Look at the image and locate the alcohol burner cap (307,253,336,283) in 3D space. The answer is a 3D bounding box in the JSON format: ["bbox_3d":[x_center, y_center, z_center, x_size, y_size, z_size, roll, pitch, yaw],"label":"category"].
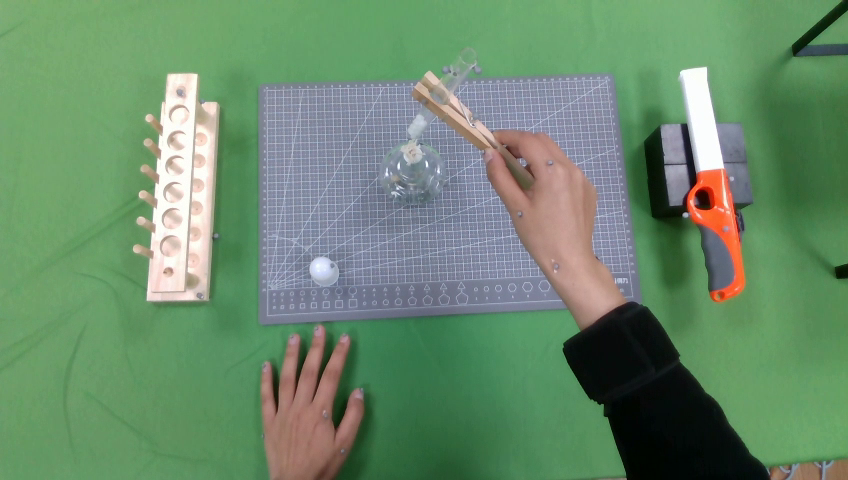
[{"bbox_3d":[-0.119,0.030,0.691,0.034,0.048,0.033,1,78,-5],"label":"alcohol burner cap"}]

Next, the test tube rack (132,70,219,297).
[{"bbox_3d":[-0.283,-0.061,0.683,0.067,0.085,0.241,-1,78,-2],"label":"test tube rack"}]

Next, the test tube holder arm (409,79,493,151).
[{"bbox_3d":[0.025,-0.108,0.528,0.088,0.015,0.010,35,74,-8],"label":"test tube holder arm"}]

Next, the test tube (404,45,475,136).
[{"bbox_3d":[0.009,-0.125,0.528,0.017,0.150,0.017,5,75,-18],"label":"test tube"}]

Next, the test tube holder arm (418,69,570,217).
[{"bbox_3d":[0.063,-0.084,0.536,0.179,0.015,0.013,41,74,-7],"label":"test tube holder arm"}]

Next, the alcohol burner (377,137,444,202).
[{"bbox_3d":[-0.015,-0.084,0.684,0.078,0.119,0.077,0,79,-2],"label":"alcohol burner"}]

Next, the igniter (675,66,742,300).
[{"bbox_3d":[0.325,-0.069,0.697,0.057,0.025,0.275,-5,78,8],"label":"igniter"}]
